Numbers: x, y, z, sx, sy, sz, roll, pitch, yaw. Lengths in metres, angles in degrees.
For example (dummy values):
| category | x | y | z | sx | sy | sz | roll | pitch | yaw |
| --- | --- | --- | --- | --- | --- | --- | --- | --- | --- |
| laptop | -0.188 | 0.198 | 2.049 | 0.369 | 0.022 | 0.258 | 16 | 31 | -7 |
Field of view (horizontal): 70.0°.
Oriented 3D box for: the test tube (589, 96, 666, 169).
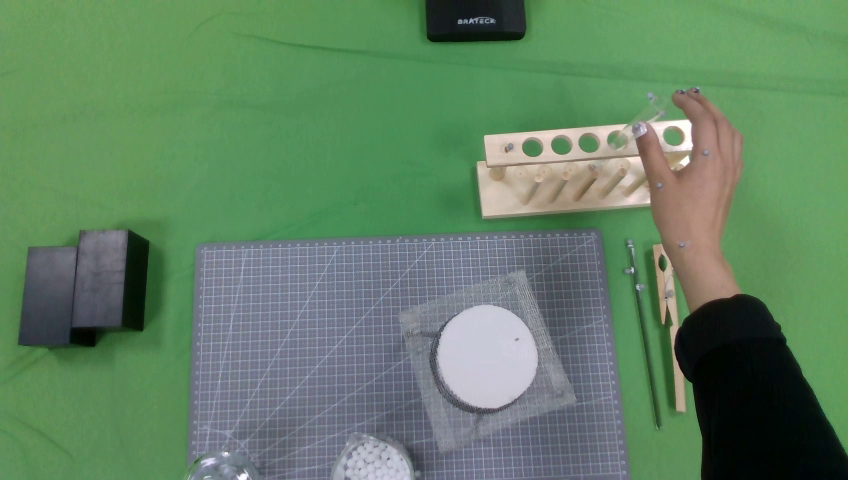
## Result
| category | x | y | z | sx | sy | sz | roll | pitch | yaw |
| --- | --- | --- | --- | --- | --- | --- | --- | --- | --- |
| test tube | 0.201 | -0.104 | 0.614 | 0.017 | 0.150 | 0.017 | 2 | 75 | -7 |

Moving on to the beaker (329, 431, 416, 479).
| category | x | y | z | sx | sy | sz | roll | pitch | yaw |
| --- | --- | --- | --- | --- | --- | --- | --- | --- | --- |
| beaker | -0.048 | 0.219 | 0.573 | 0.074 | 0.100 | 0.083 | -23 | 77 | -7 |

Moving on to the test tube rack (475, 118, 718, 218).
| category | x | y | z | sx | sy | sz | roll | pitch | yaw |
| --- | --- | --- | --- | --- | --- | --- | --- | --- | --- |
| test tube rack | 0.182 | -0.076 | 0.658 | 0.242 | 0.085 | 0.066 | -5 | 76 | -2 |

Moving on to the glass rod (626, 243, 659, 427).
| category | x | y | z | sx | sy | sz | roll | pitch | yaw |
| --- | --- | --- | --- | --- | --- | --- | --- | --- | --- |
| glass rod | 0.235 | 0.099 | 0.656 | 0.008 | 0.008 | 0.198 | -3 | 76 | -2 |

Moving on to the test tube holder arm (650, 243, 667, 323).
| category | x | y | z | sx | sy | sz | roll | pitch | yaw |
| --- | --- | --- | --- | --- | --- | --- | --- | --- | --- |
| test tube holder arm | 0.260 | 0.048 | 0.666 | 0.010 | 0.015 | 0.087 | -10 | 75 | 32 |

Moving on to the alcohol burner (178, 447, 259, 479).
| category | x | y | z | sx | sy | sz | roll | pitch | yaw |
| --- | --- | --- | --- | --- | --- | --- | --- | --- | --- |
| alcohol burner | -0.195 | 0.232 | 0.558 | 0.078 | 0.119 | 0.077 | 0 | 74 | -1 |

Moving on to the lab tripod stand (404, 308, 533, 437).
| category | x | y | z | sx | sy | sz | roll | pitch | yaw |
| --- | --- | --- | --- | --- | --- | --- | --- | --- | --- |
| lab tripod stand | 0.044 | 0.117 | 0.581 | 0.148 | 0.132 | 0.147 | 0 | 77 | 1 |

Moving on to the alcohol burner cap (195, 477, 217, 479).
| category | x | y | z | sx | sy | sz | roll | pitch | yaw |
| --- | --- | --- | --- | --- | --- | --- | --- | --- | --- |
| alcohol burner cap | -0.195 | 0.221 | 0.524 | 0.034 | 0.048 | 0.033 | 1 | 67 | -2 |

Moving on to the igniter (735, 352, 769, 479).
| category | x | y | z | sx | sy | sz | roll | pitch | yaw |
| --- | --- | --- | --- | --- | --- | --- | --- | --- | --- |
| igniter | 0.330 | 0.253 | 0.615 | 0.057 | 0.025 | 0.275 | 11 | 77 | -9 |

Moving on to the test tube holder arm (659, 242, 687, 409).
| category | x | y | z | sx | sy | sz | roll | pitch | yaw |
| --- | --- | --- | --- | --- | --- | --- | --- | --- | --- |
| test tube holder arm | 0.267 | 0.091 | 0.653 | 0.013 | 0.015 | 0.177 | -11 | 75 | 31 |

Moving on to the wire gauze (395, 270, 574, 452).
| category | x | y | z | sx | sy | sz | roll | pitch | yaw |
| --- | --- | --- | --- | --- | --- | --- | --- | --- | --- |
| wire gauze | 0.050 | 0.100 | 0.517 | 0.121 | 0.011 | 0.124 | -18 | 78 | -4 |
